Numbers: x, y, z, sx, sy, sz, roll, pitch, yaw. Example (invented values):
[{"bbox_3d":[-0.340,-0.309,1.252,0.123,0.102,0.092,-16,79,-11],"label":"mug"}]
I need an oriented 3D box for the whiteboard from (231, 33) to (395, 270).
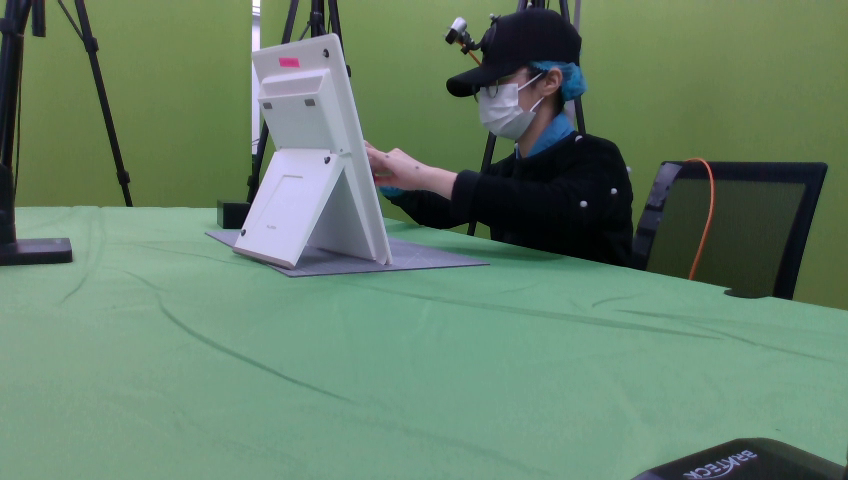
[{"bbox_3d":[-0.193,-0.094,0.805,0.144,0.305,0.216,-28,25,-35],"label":"whiteboard"}]

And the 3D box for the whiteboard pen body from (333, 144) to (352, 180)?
[{"bbox_3d":[-0.163,-0.157,1.221,0.017,0.017,0.140,-1,-22,-21],"label":"whiteboard pen body"}]

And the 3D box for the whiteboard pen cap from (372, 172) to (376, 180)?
[{"bbox_3d":[-0.094,-0.112,1.060,0.017,0.017,0.032,0,8,-15],"label":"whiteboard pen cap"}]
